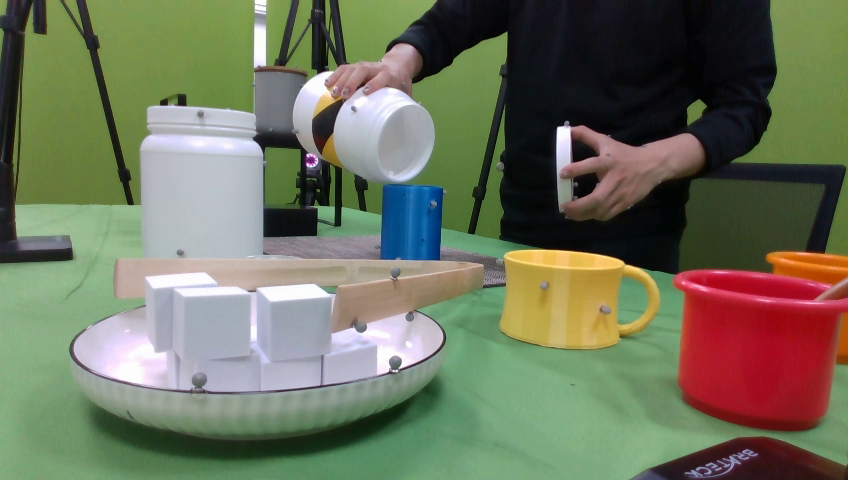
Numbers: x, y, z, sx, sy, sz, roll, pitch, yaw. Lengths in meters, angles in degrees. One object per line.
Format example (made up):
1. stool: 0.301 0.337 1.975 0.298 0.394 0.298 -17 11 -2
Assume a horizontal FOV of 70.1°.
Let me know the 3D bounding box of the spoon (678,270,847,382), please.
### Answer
1. spoon: 0.229 0.031 0.338 0.193 0.021 0.042 -44 -16 27

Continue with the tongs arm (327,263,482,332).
1. tongs arm: -0.003 0.036 0.493 0.050 0.026 0.386 1 0 19

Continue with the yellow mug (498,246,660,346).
1. yellow mug: 0.130 0.045 0.508 0.131 0.064 0.100 4 7 6

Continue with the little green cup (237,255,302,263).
1. little green cup: -0.150 0.038 0.590 0.061 0.038 0.061 3 7 0

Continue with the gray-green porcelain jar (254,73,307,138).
1. gray-green porcelain jar: -0.298 -0.277 1.259 0.106 0.126 0.106 3 7 0

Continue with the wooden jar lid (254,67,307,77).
1. wooden jar lid: -0.296 -0.339 1.251 0.108 0.020 0.108 1 7 0

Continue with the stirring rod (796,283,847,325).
1. stirring rod: 0.346 0.019 0.460 0.014 0.176 0.006 -17 59 -26

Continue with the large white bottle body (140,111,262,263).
1. large white bottle body: -0.254 -0.053 0.697 0.131 0.184 0.130 2 7 0

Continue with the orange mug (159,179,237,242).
1. orange mug: -0.368 -0.052 0.991 0.127 0.101 0.083 -10 14 -41

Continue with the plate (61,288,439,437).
1. plate: -0.095 0.069 0.362 0.208 0.039 0.207 3 7 0

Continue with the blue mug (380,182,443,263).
1. blue mug: -0.019 -0.026 0.833 0.082 0.106 0.116 1 7 -7

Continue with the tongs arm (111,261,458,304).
1. tongs arm: -0.080 0.032 0.527 0.028 0.027 0.389 -3 -3 33

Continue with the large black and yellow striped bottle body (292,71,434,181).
1. large black and yellow striped bottle body: -0.087 -0.161 0.864 0.183 0.130 0.131 27 22 39

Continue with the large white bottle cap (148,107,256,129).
1. large white bottle cap: -0.250 -0.137 0.686 0.115 0.018 0.115 3 8 0

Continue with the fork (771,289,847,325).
1. fork: 0.335 0.018 0.443 0.028 0.018 0.207 -1 -36 -20

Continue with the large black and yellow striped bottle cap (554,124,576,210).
1. large black and yellow striped bottle cap: 0.190 -0.098 0.809 0.019 0.115 0.115 -5 5 15
